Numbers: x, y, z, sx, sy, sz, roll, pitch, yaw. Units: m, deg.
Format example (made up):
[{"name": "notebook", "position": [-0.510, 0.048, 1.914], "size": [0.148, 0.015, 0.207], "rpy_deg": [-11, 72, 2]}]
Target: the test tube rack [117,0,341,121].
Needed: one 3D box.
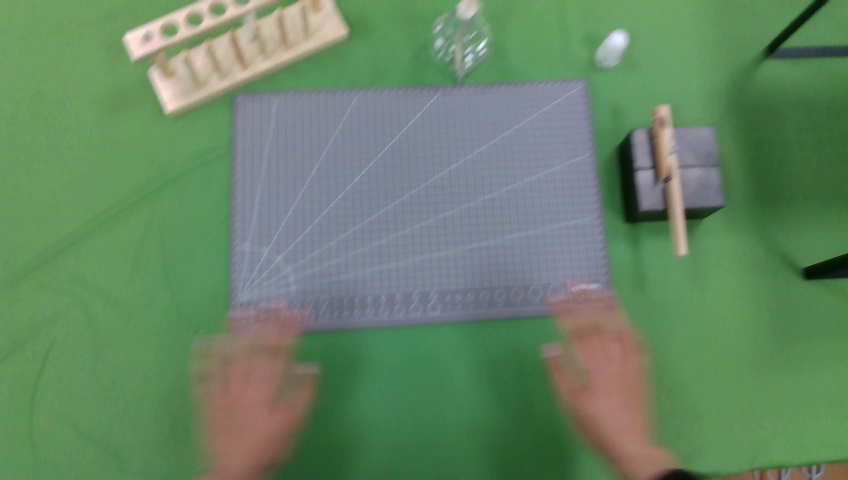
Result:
[{"name": "test tube rack", "position": [-0.227, -0.239, 0.735], "size": [0.242, 0.085, 0.066], "rpy_deg": [-27, 78, -9]}]

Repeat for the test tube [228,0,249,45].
[{"name": "test tube", "position": [-0.217, -0.276, 0.694], "size": [0.017, 0.151, 0.017], "rpy_deg": [2, 69, -5]}]

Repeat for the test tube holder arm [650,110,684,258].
[{"name": "test tube holder arm", "position": [0.281, -0.067, 0.707], "size": [0.013, 0.015, 0.177], "rpy_deg": [-7, 79, -6]}]

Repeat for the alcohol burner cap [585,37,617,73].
[{"name": "alcohol burner cap", "position": [0.231, -0.241, 0.783], "size": [0.034, 0.048, 0.033], "rpy_deg": [0, 75, -1]}]

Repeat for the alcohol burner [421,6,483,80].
[{"name": "alcohol burner", "position": [0.036, -0.247, 0.737], "size": [0.078, 0.119, 0.077], "rpy_deg": [1, 76, -4]}]

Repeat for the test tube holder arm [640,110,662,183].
[{"name": "test tube holder arm", "position": [0.270, -0.110, 0.715], "size": [0.010, 0.015, 0.087], "rpy_deg": [-5, 78, -6]}]
